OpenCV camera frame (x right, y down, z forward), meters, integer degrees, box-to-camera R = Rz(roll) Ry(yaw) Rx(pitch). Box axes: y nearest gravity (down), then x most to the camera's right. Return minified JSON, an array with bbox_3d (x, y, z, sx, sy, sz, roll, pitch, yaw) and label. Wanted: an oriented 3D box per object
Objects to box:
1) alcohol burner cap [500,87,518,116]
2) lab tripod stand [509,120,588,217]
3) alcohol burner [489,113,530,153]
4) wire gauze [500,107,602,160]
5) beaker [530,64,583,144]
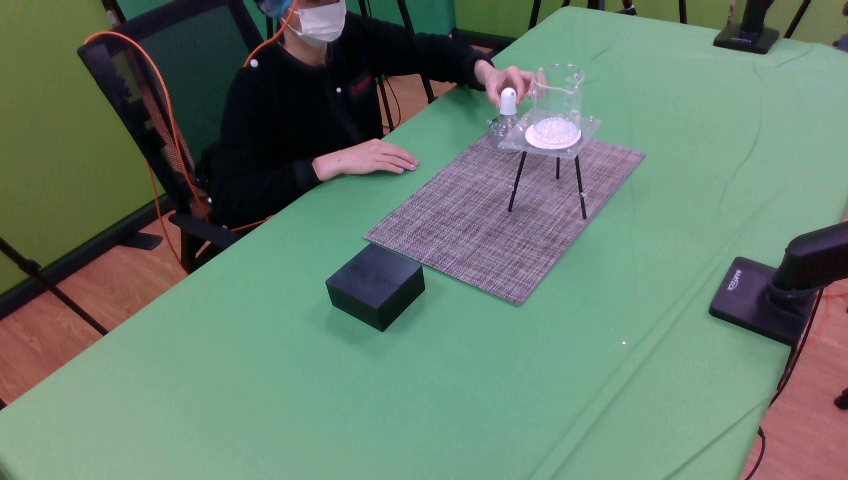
[{"bbox_3d":[0.157,-0.257,1.112,0.034,0.048,0.033,-2,38,2],"label":"alcohol burner cap"},{"bbox_3d":[0.208,-0.114,0.983,0.148,0.132,0.147,-5,42,5],"label":"lab tripod stand"},{"bbox_3d":[0.160,-0.226,1.136,0.078,0.119,0.077,-6,41,6],"label":"alcohol burner"},{"bbox_3d":[0.199,-0.166,0.945,0.120,0.011,0.125,17,50,28],"label":"wire gauze"},{"bbox_3d":[0.201,-0.201,0.909,0.074,0.101,0.083,-19,43,-10],"label":"beaker"}]
